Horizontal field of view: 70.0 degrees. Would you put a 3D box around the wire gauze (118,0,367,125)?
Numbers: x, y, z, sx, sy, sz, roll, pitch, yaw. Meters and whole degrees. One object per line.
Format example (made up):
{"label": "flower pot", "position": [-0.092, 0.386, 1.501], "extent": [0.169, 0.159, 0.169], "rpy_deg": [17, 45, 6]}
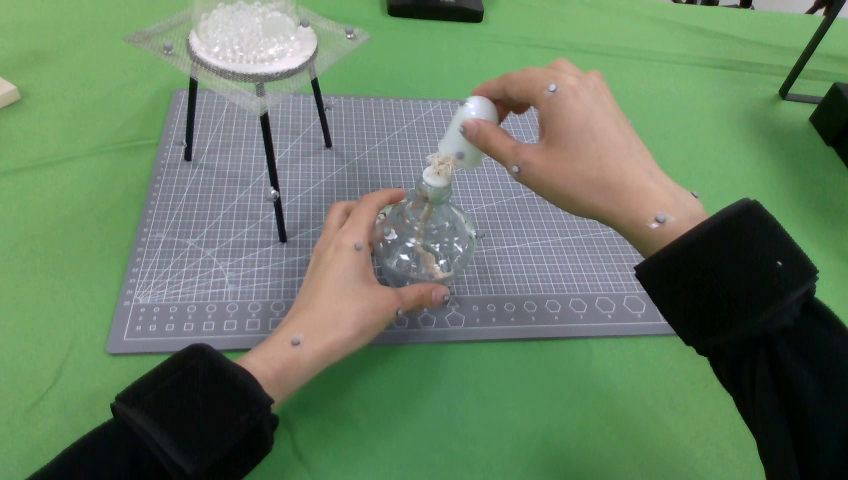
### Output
{"label": "wire gauze", "position": [-0.122, -0.142, 0.422], "extent": [0.124, 0.011, 0.121], "rpy_deg": [32, 54, 13]}

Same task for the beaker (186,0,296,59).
{"label": "beaker", "position": [-0.120, -0.175, 0.385], "extent": [0.073, 0.101, 0.084], "rpy_deg": [30, 52, 16]}

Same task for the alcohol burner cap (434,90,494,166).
{"label": "alcohol burner cap", "position": [0.028, -0.075, 0.397], "extent": [0.034, 0.048, 0.033], "rpy_deg": [10, 49, -12]}

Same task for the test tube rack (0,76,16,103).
{"label": "test tube rack", "position": [-0.457, -0.105, 0.456], "extent": [0.066, 0.086, 0.241], "rpy_deg": [29, 50, 16]}

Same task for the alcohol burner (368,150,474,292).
{"label": "alcohol burner", "position": [0.000, -0.017, 0.434], "extent": [0.078, 0.120, 0.077], "rpy_deg": [6, 47, -6]}

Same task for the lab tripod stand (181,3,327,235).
{"label": "lab tripod stand", "position": [-0.128, -0.099, 0.471], "extent": [0.149, 0.132, 0.147], "rpy_deg": [6, 49, -7]}
